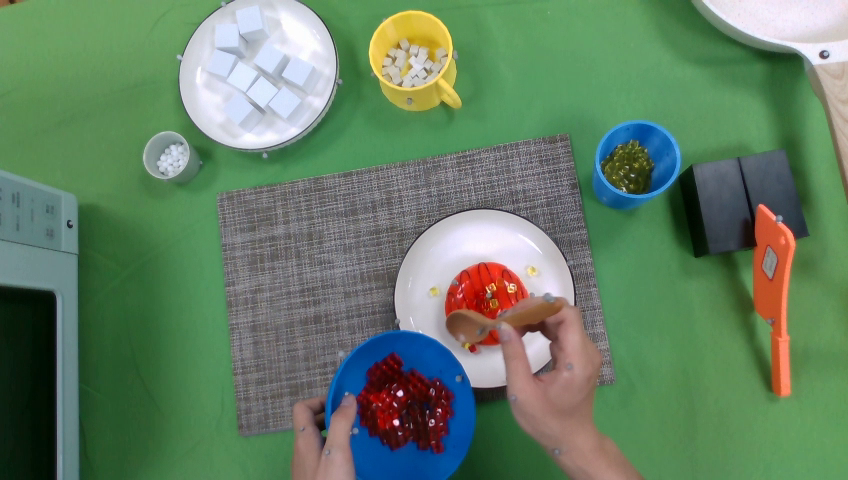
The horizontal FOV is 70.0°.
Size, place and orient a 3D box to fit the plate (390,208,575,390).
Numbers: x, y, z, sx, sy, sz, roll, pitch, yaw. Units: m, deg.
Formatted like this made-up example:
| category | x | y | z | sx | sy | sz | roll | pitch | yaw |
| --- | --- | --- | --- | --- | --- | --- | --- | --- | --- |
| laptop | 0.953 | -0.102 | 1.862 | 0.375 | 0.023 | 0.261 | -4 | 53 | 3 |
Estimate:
| category | x | y | z | sx | sy | sz | roll | pitch | yaw |
| --- | --- | --- | --- | --- | --- | --- | --- | --- | --- |
| plate | 0.067 | 0.067 | 0.702 | 0.209 | 0.038 | 0.208 | -1 | 83 | 7 |

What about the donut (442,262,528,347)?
| category | x | y | z | sx | sy | sz | roll | pitch | yaw |
| --- | --- | --- | --- | --- | --- | --- | --- | --- | --- |
| donut | 0.069 | 0.074 | 0.690 | 0.099 | 0.048 | 0.099 | -1 | 86 | 7 |

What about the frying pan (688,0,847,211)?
| category | x | y | z | sx | sy | sz | roll | pitch | yaw |
| --- | --- | --- | --- | --- | --- | --- | --- | --- | --- |
| frying pan | 0.433 | -0.250 | 0.674 | 0.306 | 0.103 | 0.485 | -4 | 74 | 7 |

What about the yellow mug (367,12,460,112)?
| category | x | y | z | sx | sy | sz | roll | pitch | yaw |
| --- | --- | --- | --- | --- | --- | --- | --- | --- | --- |
| yellow mug | -0.003 | -0.206 | 0.739 | 0.130 | 0.064 | 0.100 | 44 | 89 | 10 |

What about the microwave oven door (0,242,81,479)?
| category | x | y | z | sx | sy | sz | roll | pitch | yaw |
| --- | --- | --- | --- | --- | --- | --- | --- | --- | --- |
| microwave oven door | -0.453 | 0.177 | 0.630 | 0.039 | 0.245 | 0.354 | -6 | 81 | 6 |

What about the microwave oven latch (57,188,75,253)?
| category | x | y | z | sx | sy | sz | roll | pitch | yaw |
| --- | --- | --- | --- | --- | --- | --- | --- | --- | --- |
| microwave oven latch | -0.459 | -0.024 | 0.761 | 0.030 | 0.029 | 0.079 | -3 | 82 | 6 |

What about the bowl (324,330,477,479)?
| category | x | y | z | sx | sy | sz | roll | pitch | yaw |
| --- | --- | --- | --- | --- | --- | --- | --- | --- | --- |
| bowl | -0.033 | 0.170 | 0.599 | 0.152 | 0.077 | 0.150 | 8 | 70 | -23 |

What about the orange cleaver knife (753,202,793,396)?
| category | x | y | z | sx | sy | sz | roll | pitch | yaw |
| --- | --- | --- | --- | --- | --- | --- | --- | --- | --- |
| orange cleaver knife | 0.371 | 0.066 | 0.649 | 0.012 | 0.077 | 0.212 | -10 | 110 | 6 |

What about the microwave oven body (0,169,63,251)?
| category | x | y | z | sx | sy | sz | roll | pitch | yaw |
| --- | --- | --- | --- | --- | --- | --- | --- | --- | --- |
| microwave oven body | -0.601 | 0.151 | 0.655 | 0.326 | 0.261 | 0.440 | -6 | 82 | 5 |

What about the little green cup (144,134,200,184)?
| category | x | y | z | sx | sy | sz | roll | pitch | yaw |
| --- | --- | --- | --- | --- | --- | --- | --- | --- | --- |
| little green cup | -0.319 | -0.100 | 0.773 | 0.061 | 0.039 | 0.061 | -1 | 82 | 6 |

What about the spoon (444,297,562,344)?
| category | x | y | z | sx | sy | sz | roll | pitch | yaw |
| --- | --- | --- | --- | --- | --- | --- | --- | --- | --- |
| spoon | 0.063 | 0.070 | 0.517 | 0.042 | 0.193 | 0.021 | 44 | 69 | -6 |

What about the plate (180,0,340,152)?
| category | x | y | z | sx | sy | sz | roll | pitch | yaw |
| --- | --- | --- | --- | --- | --- | --- | --- | --- | --- |
| plate | -0.207 | -0.211 | 0.778 | 0.207 | 0.039 | 0.207 | -1 | 82 | 7 |

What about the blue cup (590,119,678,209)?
| category | x | y | z | sx | sy | sz | roll | pitch | yaw |
| --- | --- | --- | --- | --- | --- | --- | --- | --- | --- |
| blue cup | 0.225 | -0.076 | 0.676 | 0.092 | 0.100 | 0.092 | -1 | 80 | 6 |
